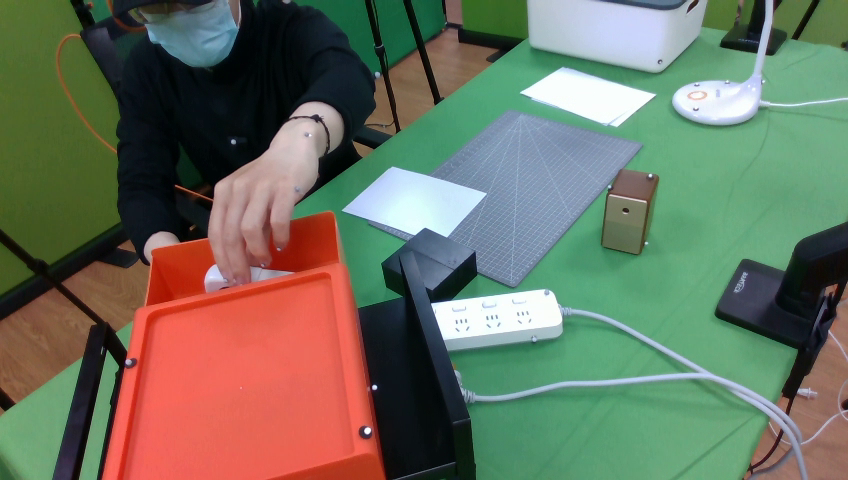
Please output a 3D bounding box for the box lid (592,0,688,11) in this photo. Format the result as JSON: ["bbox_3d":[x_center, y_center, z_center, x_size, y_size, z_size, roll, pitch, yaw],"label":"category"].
[{"bbox_3d":[0.441,-0.596,1.383,0.368,0.015,0.264,24,49,31],"label":"box lid"}]

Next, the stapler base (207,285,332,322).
[{"bbox_3d":[-0.164,0.063,0.635,0.130,0.024,0.041,-1,47,4],"label":"stapler base"}]

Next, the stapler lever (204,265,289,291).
[{"bbox_3d":[-0.165,0.045,0.618,0.118,0.040,0.026,-1,47,5],"label":"stapler lever"}]

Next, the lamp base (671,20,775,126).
[{"bbox_3d":[0.582,-0.331,1.153,0.179,0.181,0.160,2,42,7],"label":"lamp base"}]

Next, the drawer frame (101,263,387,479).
[{"bbox_3d":[-0.146,0.132,0.516,0.202,0.083,0.212,-13,41,-7],"label":"drawer frame"}]

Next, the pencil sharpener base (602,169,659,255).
[{"bbox_3d":[0.312,-0.044,0.913,0.061,0.107,0.077,14,45,24],"label":"pencil sharpener base"}]

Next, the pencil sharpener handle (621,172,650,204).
[{"bbox_3d":[0.328,-0.086,0.940,0.036,0.068,0.030,30,49,7],"label":"pencil sharpener handle"}]

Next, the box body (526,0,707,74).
[{"bbox_3d":[0.450,-0.540,1.430,0.361,0.161,0.255,24,50,31],"label":"box body"}]

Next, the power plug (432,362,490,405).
[{"bbox_3d":[0.044,0.182,0.759,0.073,0.035,0.052,24,42,-20],"label":"power plug"}]

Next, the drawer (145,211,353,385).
[{"bbox_3d":[-0.167,0.077,0.587,0.195,0.073,0.210,-12,41,-6],"label":"drawer"}]

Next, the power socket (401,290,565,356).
[{"bbox_3d":[0.080,0.113,0.821,0.227,0.033,0.072,-6,41,0],"label":"power socket"}]

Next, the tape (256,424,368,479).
[{"bbox_3d":[-0.121,0.264,0.659,0.117,0.053,0.116,-5,39,4],"label":"tape"}]

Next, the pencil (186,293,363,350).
[{"bbox_3d":[-0.153,0.080,0.611,0.193,0.012,0.012,15,44,8],"label":"pencil"}]
